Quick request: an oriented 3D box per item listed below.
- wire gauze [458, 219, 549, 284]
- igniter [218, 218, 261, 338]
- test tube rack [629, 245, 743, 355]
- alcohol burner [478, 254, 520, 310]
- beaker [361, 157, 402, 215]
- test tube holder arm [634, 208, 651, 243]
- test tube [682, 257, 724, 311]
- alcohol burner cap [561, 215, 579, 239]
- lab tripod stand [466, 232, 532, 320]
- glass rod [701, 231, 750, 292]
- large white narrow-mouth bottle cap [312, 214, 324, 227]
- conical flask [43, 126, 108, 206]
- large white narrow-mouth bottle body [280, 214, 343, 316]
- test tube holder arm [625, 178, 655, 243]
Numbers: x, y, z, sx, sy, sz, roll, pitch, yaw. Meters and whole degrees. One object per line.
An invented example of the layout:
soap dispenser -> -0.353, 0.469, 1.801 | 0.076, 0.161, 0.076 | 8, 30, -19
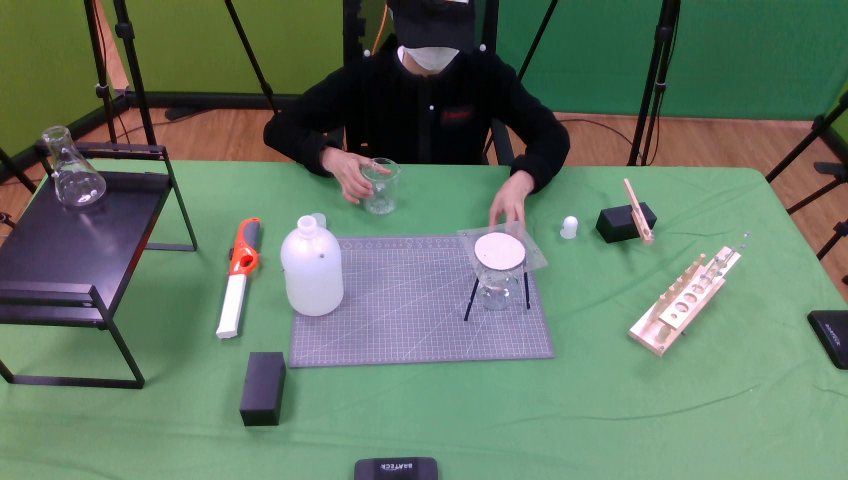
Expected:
wire gauze -> 0.131, 0.014, 1.016 | 0.121, 0.011, 0.124 | -12, 46, -14
igniter -> -0.336, 0.060, 1.111 | 0.057, 0.025, 0.274 | -7, 46, 4
test tube rack -> 0.474, 0.095, 1.091 | 0.242, 0.085, 0.066 | -34, 56, -31
alcohol burner -> 0.134, 0.068, 1.071 | 0.078, 0.120, 0.077 | 0, 47, 0
beaker -> -0.086, -0.108, 1.241 | 0.084, 0.101, 0.073 | -10, 48, -14
test tube holder arm -> 0.428, -0.030, 1.189 | 0.010, 0.015, 0.087 | 1, 47, -2
test tube -> 0.475, 0.080, 1.037 | 0.017, 0.151, 0.017 | 2, 51, -2
alcohol burner cap -> 0.299, -0.030, 1.231 | 0.034, 0.048, 0.033 | 1, 46, 0
lab tripod stand -> 0.125, 0.059, 1.065 | 0.148, 0.132, 0.147 | 1, 45, 0
glass rod -> 0.519, 0.045, 1.050 | 0.008, 0.201, 0.008 | 0, 55, 0
large white narrow-mouth bottle cap -> -0.219, -0.033, 1.214 | 0.038, 0.024, 0.037 | 2, 46, -2
conical flask -> -0.555, -0.119, 0.953 | 0.075, 0.122, 0.075 | 2, 46, -2
large white narrow-mouth bottle body -> -0.190, 0.035, 1.025 | 0.102, 0.195, 0.101 | 2, 46, -2
test tube holder arm -> 0.433, -0.062, 1.220 | 0.013, 0.015, 0.177 | 1, 47, -3
